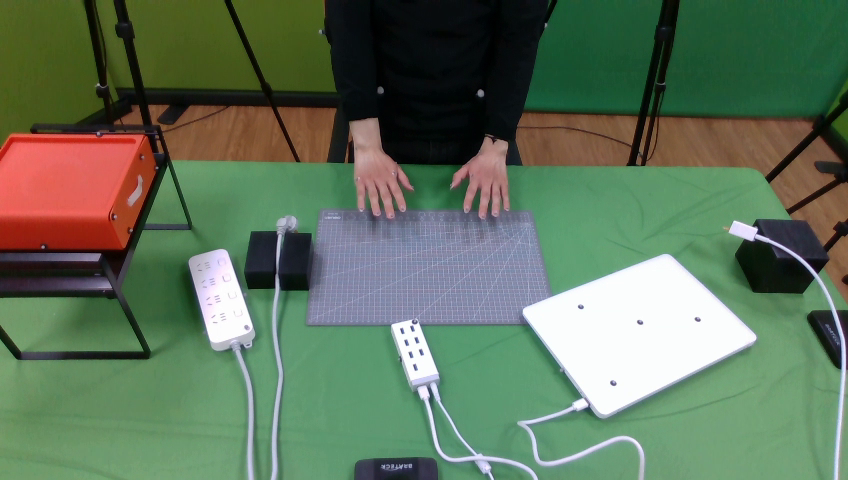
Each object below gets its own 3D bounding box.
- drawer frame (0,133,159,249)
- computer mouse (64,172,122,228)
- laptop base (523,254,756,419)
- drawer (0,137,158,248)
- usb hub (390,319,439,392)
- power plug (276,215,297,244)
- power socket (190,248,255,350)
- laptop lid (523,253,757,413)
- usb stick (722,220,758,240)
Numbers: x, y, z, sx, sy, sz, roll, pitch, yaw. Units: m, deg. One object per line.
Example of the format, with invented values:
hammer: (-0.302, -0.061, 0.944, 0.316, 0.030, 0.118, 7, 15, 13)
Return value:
drawer frame: (-0.553, -0.078, 0.942, 0.214, 0.083, 0.200, -1, 47, -4)
computer mouse: (-0.521, -0.067, 0.955, 0.063, 0.041, 0.116, 0, 48, -9)
laptop base: (0.381, 0.157, 1.080, 0.355, 0.023, 0.234, -18, 48, -20)
drawer: (-0.549, -0.079, 0.944, 0.212, 0.073, 0.193, 0, 47, -3)
usb hub: (-0.016, 0.190, 1.013, 0.049, 0.025, 0.124, -11, 48, -15)
power plug: (-0.267, -0.015, 1.157, 0.035, 0.053, 0.072, 6, 63, 26)
power socket: (-0.358, 0.100, 1.069, 0.072, 0.033, 0.225, -17, 51, -18)
laptop lid: (0.380, 0.147, 1.073, 0.357, 0.013, 0.240, -17, 48, -19)
usb stick: (0.593, -0.021, 1.139, 0.059, 0.027, 0.021, 22, 12, 29)
